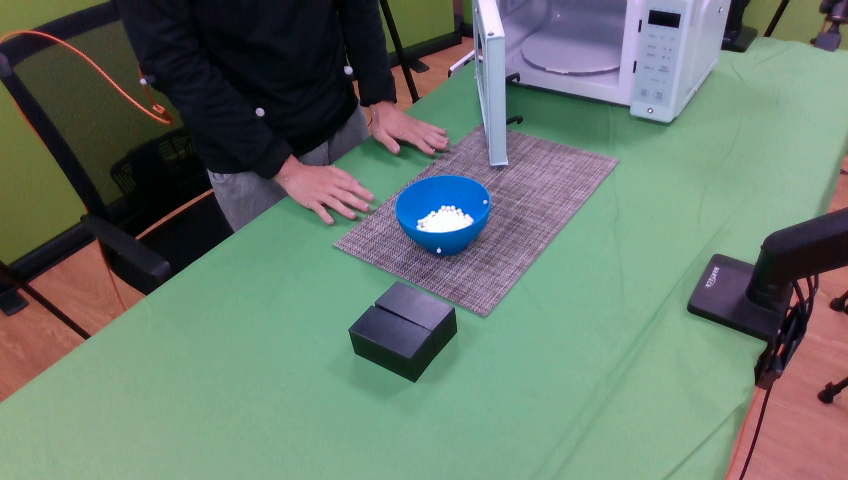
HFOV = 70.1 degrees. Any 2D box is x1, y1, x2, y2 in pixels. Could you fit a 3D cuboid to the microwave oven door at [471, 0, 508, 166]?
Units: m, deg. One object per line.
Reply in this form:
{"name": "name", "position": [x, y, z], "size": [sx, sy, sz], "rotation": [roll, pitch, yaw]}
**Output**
{"name": "microwave oven door", "position": [0.122, -0.340, 1.153], "size": [0.039, 0.245, 0.354], "rotation": [-5, 40, 3]}

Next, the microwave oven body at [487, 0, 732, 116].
{"name": "microwave oven body", "position": [0.377, -0.462, 1.267], "size": [0.438, 0.261, 0.327], "rotation": [21, 48, 30]}

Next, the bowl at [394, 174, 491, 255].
{"name": "bowl", "position": [0.032, -0.030, 0.949], "size": [0.151, 0.077, 0.150], "rotation": [-4, 40, 4]}

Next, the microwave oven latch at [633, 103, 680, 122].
{"name": "microwave oven latch", "position": [0.443, -0.249, 1.157], "size": [0.078, 0.029, 0.030], "rotation": [21, 49, 30]}
